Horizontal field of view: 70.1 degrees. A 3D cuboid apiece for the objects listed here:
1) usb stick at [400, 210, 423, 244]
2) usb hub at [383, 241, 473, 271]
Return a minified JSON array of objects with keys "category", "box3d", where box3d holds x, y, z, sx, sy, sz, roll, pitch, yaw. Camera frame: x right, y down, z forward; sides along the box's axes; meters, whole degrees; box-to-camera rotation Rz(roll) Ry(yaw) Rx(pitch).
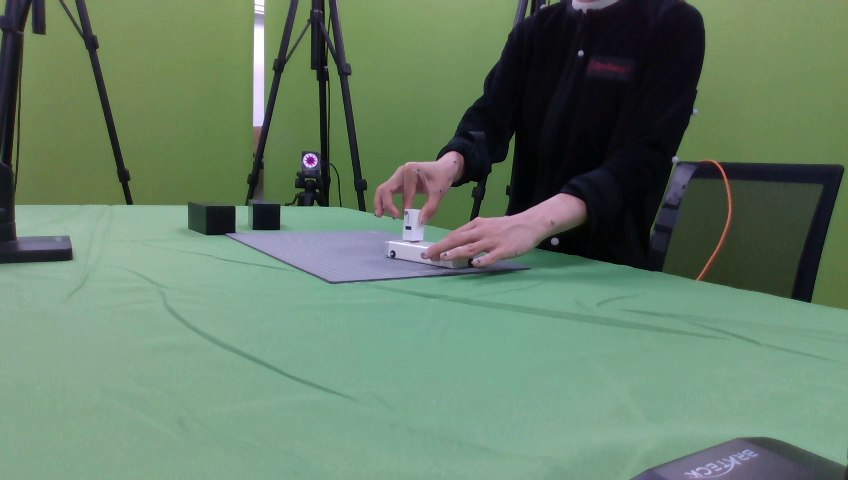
[{"category":"usb stick","box3d":[-0.018,-0.013,0.861,0.021,0.059,0.027,12,13,36]},{"category":"usb hub","box3d":[0.004,0.021,0.842,0.124,0.025,0.050,9,10,39]}]
